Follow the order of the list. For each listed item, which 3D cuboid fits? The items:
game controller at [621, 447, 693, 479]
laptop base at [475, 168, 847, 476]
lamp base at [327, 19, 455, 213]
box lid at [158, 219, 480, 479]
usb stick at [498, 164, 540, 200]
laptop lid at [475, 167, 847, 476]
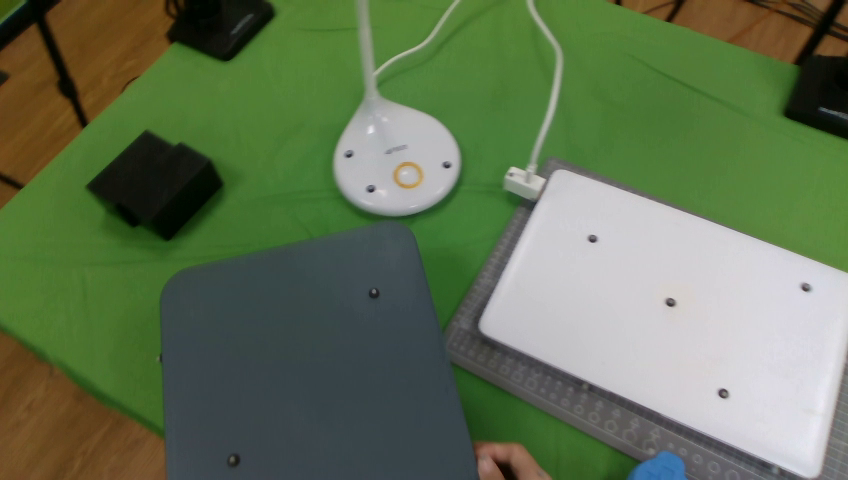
[{"bbox_3d":[0.247,0.255,0.543,0.154,0.052,0.096,25,63,14],"label":"game controller"},{"bbox_3d":[0.260,0.070,0.661,0.353,0.023,0.234,22,68,13],"label":"laptop base"},{"bbox_3d":[-0.051,-0.148,0.699,0.160,0.182,0.177,-30,61,-14],"label":"lamp base"},{"bbox_3d":[-0.100,0.157,0.543,0.263,0.015,0.368,-14,63,-4],"label":"box lid"},{"bbox_3d":[0.120,-0.067,0.726,0.059,0.027,0.021,26,60,12],"label":"usb stick"},{"bbox_3d":[0.258,0.066,0.649,0.355,0.013,0.240,24,67,14],"label":"laptop lid"}]
